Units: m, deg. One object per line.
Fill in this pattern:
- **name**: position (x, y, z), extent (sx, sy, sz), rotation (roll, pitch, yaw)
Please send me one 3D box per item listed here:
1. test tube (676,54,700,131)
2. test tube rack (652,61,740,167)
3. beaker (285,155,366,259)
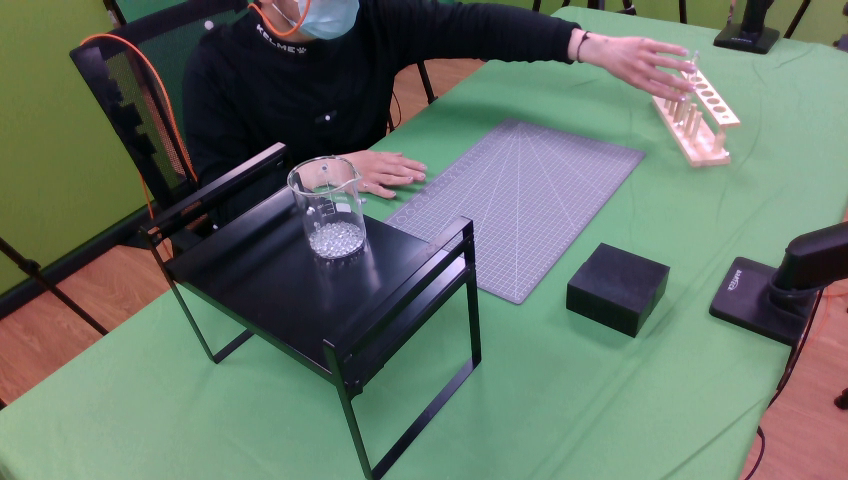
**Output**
- **test tube**: position (0.475, -0.263, 1.088), extent (0.017, 0.151, 0.017), rotation (-4, 43, 4)
- **test tube rack**: position (0.499, -0.242, 1.130), extent (0.067, 0.085, 0.241), rotation (-5, 41, 4)
- **beaker**: position (-0.105, -0.035, 0.691), extent (0.084, 0.101, 0.073), rotation (-4, 41, 3)
